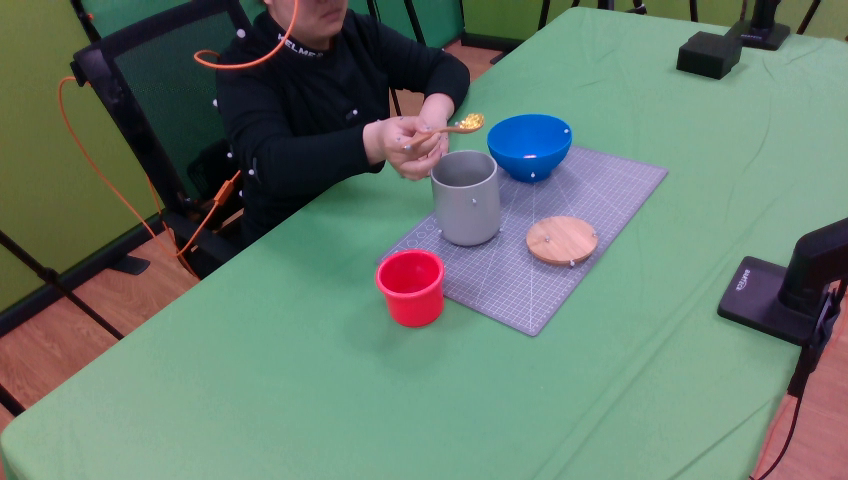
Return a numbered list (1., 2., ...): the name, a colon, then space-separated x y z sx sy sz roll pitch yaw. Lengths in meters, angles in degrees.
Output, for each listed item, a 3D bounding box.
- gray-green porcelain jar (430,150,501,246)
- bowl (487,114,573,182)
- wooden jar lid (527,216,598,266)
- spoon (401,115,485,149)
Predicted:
1. gray-green porcelain jar: 0.069 -0.062 0.959 0.106 0.127 0.105 -5 40 5
2. bowl: 0.190 -0.156 1.085 0.151 0.077 0.150 -5 40 5
3. wooden jar lid: 0.214 0.003 0.937 0.108 0.021 0.108 -4 40 4
4. spoon: 0.028 -0.159 0.880 0.041 0.021 0.195 18 27 34
